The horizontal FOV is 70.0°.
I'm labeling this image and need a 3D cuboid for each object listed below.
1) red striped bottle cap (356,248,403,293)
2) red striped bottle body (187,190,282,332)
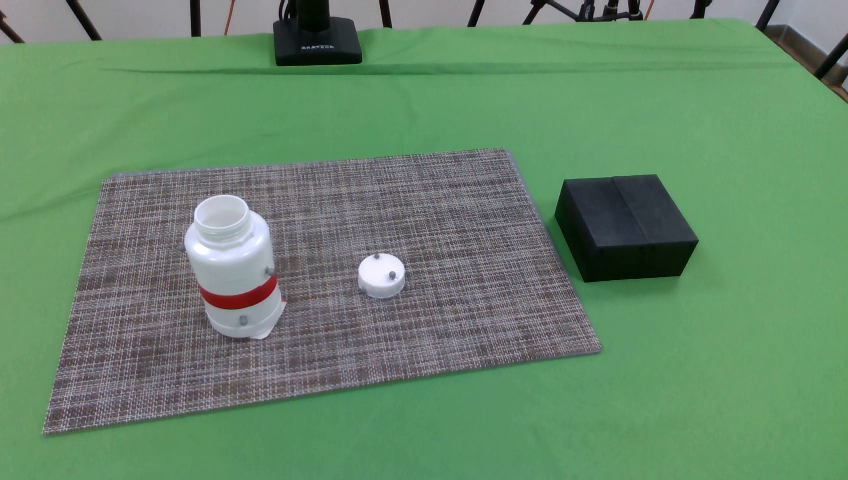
[{"bbox_3d":[-0.041,0.028,0.566,0.044,0.018,0.044,7,43,-6],"label":"red striped bottle cap"},{"bbox_3d":[-0.154,0.017,0.495,0.063,0.120,0.062,3,46,-2],"label":"red striped bottle body"}]
